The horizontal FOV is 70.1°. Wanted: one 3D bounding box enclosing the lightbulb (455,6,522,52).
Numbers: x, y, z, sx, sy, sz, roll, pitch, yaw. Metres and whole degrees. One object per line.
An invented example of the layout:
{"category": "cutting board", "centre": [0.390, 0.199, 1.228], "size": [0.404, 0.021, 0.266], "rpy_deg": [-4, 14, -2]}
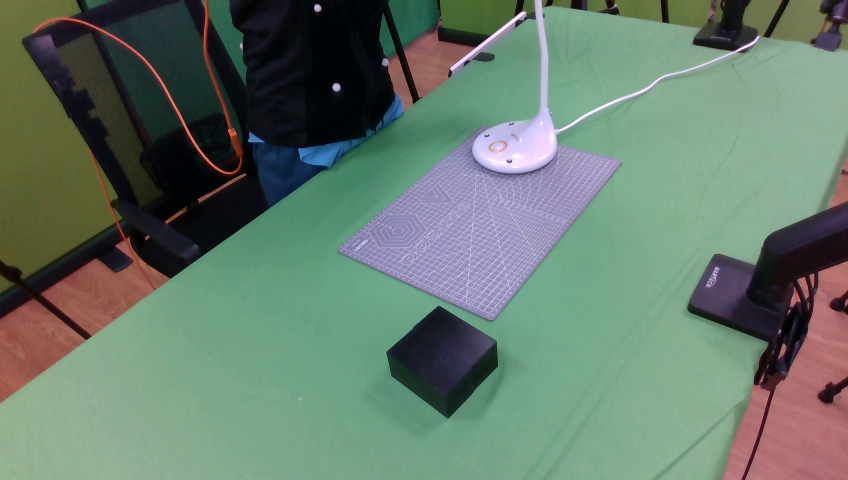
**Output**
{"category": "lightbulb", "centre": [0.095, -0.294, 0.859], "size": [0.108, 0.059, 0.059], "rpy_deg": [5, 33, -31]}

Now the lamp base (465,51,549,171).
{"category": "lamp base", "centre": [0.159, -0.243, 1.103], "size": [0.180, 0.181, 0.159], "rpy_deg": [-31, 46, -29]}
